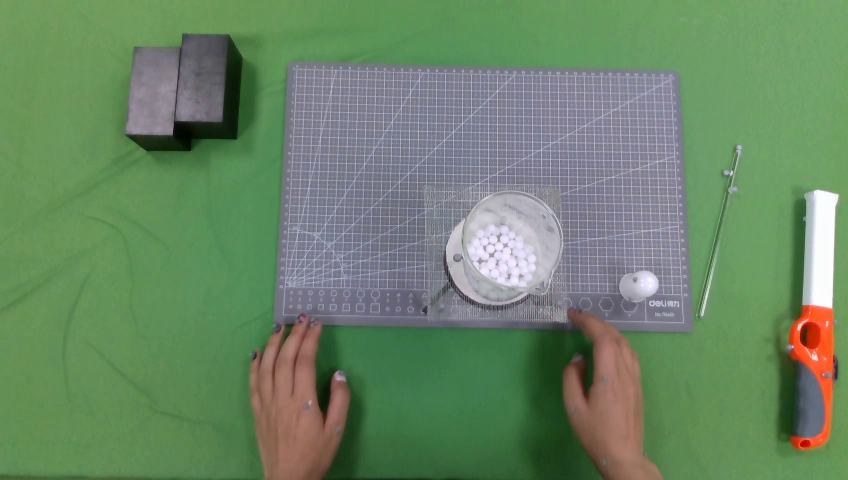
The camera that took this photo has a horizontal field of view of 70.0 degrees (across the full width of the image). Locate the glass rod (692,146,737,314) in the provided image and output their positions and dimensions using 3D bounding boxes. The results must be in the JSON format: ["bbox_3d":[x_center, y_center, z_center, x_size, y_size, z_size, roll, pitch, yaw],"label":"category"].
[{"bbox_3d":[0.323,-0.013,0.673,0.008,0.008,0.199,18,81,2],"label":"glass rod"}]

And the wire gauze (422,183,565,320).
[{"bbox_3d":[0.060,0.009,0.531,0.125,0.011,0.121,0,78,1],"label":"wire gauze"}]

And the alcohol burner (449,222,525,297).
[{"bbox_3d":[0.065,0.016,0.607,0.078,0.119,0.077,0,78,-1],"label":"alcohol burner"}]

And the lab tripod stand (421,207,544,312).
[{"bbox_3d":[0.059,0.024,0.595,0.148,0.132,0.147,0,79,1],"label":"lab tripod stand"}]

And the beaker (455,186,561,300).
[{"bbox_3d":[0.063,0.010,0.482,0.074,0.100,0.083,-31,80,-6],"label":"beaker"}]

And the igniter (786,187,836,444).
[{"bbox_3d":[0.416,0.078,0.648,0.057,0.025,0.275,11,80,-10],"label":"igniter"}]

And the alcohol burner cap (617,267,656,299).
[{"bbox_3d":[0.226,0.045,0.641,0.034,0.048,0.033,0,79,1],"label":"alcohol burner cap"}]
